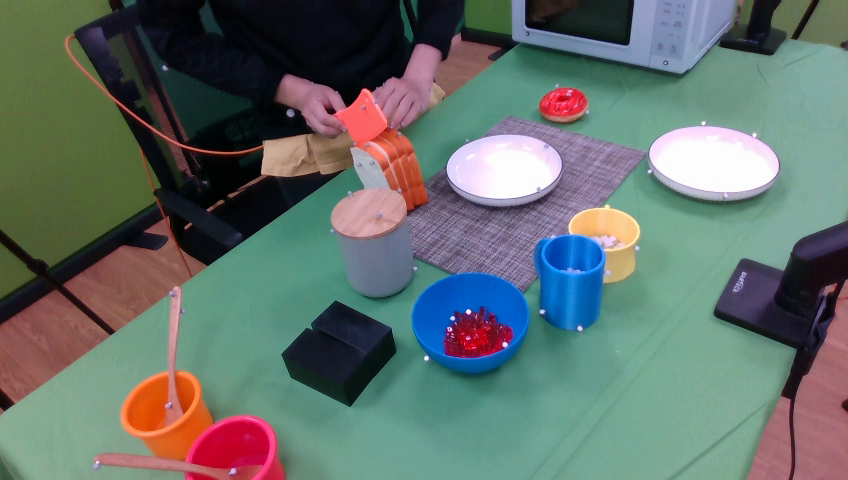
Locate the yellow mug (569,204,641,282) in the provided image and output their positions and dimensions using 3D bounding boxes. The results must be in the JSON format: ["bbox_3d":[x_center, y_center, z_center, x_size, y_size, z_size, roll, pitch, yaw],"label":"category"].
[{"bbox_3d":[0.268,-0.005,0.904,0.099,0.064,0.130,7,41,15],"label":"yellow mug"}]

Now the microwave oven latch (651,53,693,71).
[{"bbox_3d":[0.532,-0.386,1.301,0.078,0.029,0.030,27,52,34],"label":"microwave oven latch"}]

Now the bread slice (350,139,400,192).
[{"bbox_3d":[-0.083,-0.110,1.026,0.019,0.132,0.104,-39,44,-22],"label":"bread slice"}]

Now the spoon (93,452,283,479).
[{"bbox_3d":[-0.240,0.239,0.632,0.195,0.021,0.041,26,33,-32],"label":"spoon"}]

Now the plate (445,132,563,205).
[{"bbox_3d":[0.142,-0.124,1.076,0.209,0.038,0.208,-4,41,4],"label":"plate"}]

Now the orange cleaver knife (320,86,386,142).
[{"bbox_3d":[-0.120,-0.198,1.004,0.012,0.077,0.210,-30,14,-28],"label":"orange cleaver knife"}]

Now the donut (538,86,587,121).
[{"bbox_3d":[0.283,-0.280,1.239,0.099,0.048,0.098,-5,42,5],"label":"donut"}]

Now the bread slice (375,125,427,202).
[{"bbox_3d":[-0.043,-0.134,1.047,0.018,0.135,0.106,-36,48,-24],"label":"bread slice"}]

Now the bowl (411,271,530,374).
[{"bbox_3d":[0.061,0.120,0.780,0.151,0.077,0.150,-4,40,4],"label":"bowl"}]

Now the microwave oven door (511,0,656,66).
[{"bbox_3d":[0.351,-0.540,1.349,0.353,0.245,0.039,24,50,31],"label":"microwave oven door"}]

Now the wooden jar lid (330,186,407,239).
[{"bbox_3d":[-0.077,-0.036,0.847,0.108,0.021,0.108,-6,42,5],"label":"wooden jar lid"}]

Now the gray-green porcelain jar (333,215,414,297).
[{"bbox_3d":[-0.071,0.012,0.887,0.106,0.127,0.105,-4,41,4],"label":"gray-green porcelain jar"}]

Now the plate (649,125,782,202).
[{"bbox_3d":[0.493,-0.127,1.036,0.207,0.039,0.206,-4,41,4],"label":"plate"}]

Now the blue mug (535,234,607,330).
[{"bbox_3d":[0.191,0.048,0.824,0.082,0.106,0.115,-26,44,-20],"label":"blue mug"}]

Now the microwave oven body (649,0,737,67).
[{"bbox_3d":[0.475,-0.602,1.411,0.438,0.261,0.327,23,50,32],"label":"microwave oven body"}]

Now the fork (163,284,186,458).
[{"bbox_3d":[-0.302,0.157,0.733,0.028,0.019,0.207,-3,84,15],"label":"fork"}]
